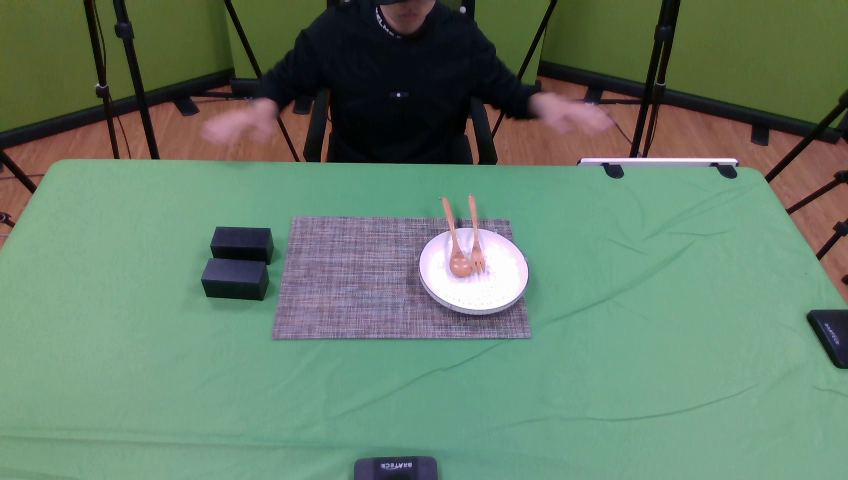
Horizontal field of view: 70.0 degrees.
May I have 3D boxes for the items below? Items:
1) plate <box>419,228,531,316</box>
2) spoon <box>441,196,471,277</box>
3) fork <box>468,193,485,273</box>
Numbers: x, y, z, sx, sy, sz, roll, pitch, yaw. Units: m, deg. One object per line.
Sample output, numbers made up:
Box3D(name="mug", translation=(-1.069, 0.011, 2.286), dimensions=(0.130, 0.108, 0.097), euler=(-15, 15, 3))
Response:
Box3D(name="plate", translation=(0.093, 0.062, 1.131), dimensions=(0.208, 0.039, 0.206), euler=(2, 46, -2))
Box3D(name="spoon", translation=(0.056, -0.010, 1.176), dimensions=(0.041, 0.022, 0.192), euler=(-7, 60, -5))
Box3D(name="fork", translation=(0.099, -0.017, 1.188), dimensions=(0.028, 0.019, 0.206), euler=(-2, 54, -1))
